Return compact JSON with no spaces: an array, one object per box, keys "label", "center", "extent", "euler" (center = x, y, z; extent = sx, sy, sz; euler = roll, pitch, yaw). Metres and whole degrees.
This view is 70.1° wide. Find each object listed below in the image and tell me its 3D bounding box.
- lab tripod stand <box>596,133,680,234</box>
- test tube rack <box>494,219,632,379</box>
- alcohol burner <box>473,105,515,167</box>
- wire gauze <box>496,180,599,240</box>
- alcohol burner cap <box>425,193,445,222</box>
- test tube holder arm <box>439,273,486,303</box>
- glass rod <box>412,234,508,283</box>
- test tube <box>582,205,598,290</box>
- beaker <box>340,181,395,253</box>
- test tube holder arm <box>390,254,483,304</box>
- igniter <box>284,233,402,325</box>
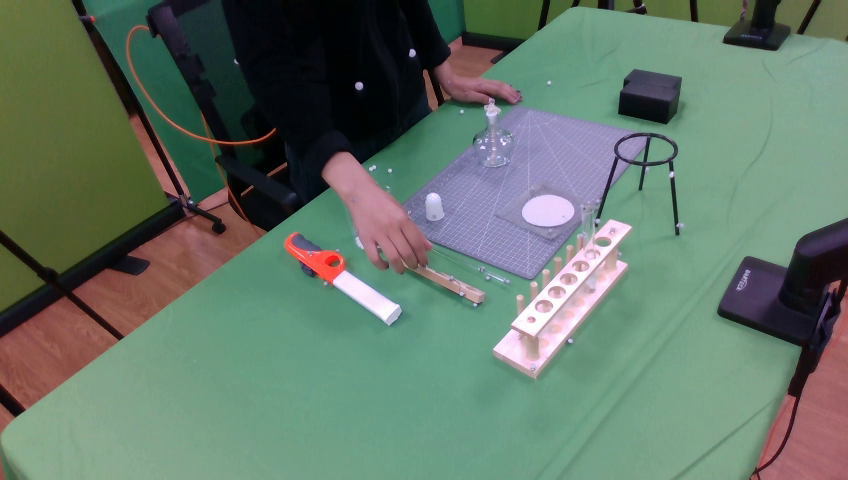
[{"label":"lab tripod stand","center":[0.338,-0.091,0.940],"extent":[0.148,0.132,0.147],"euler":[-7,39,6]},{"label":"test tube rack","center":[0.191,0.068,0.818],"extent":[0.066,0.085,0.243],"euler":[25,51,35]},{"label":"alcohol burner","center":[0.128,-0.196,1.116],"extent":[0.078,0.119,0.077],"euler":[-4,40,4]},{"label":"wire gauze","center":[0.206,-0.050,1.012],"extent":[0.125,0.011,0.120],"euler":[-34,45,-26]},{"label":"alcohol burner cap","center":[0.017,-0.058,1.029],"extent":[0.034,0.048,0.033],"euler":[-6,39,5]},{"label":"test tube holder arm","center":[0.053,0.070,0.896],"extent":[0.087,0.015,0.010],"euler":[24,16,35]},{"label":"glass rod","center":[0.052,0.027,0.952],"extent":[0.198,0.008,0.008],"euler":[26,52,37]},{"label":"test tube","center":[0.220,0.014,0.798],"extent":[0.017,0.151,0.017],"euler":[-9,43,9]},{"label":"beaker","center":[-0.086,-0.037,0.985],"extent":[0.084,0.101,0.073],"euler":[-18,41,-11]},{"label":"test tube holder arm","center":[0.016,0.056,0.916],"extent":[0.177,0.015,0.013],"euler":[23,16,34]},{"label":"igniter","center":[-0.136,0.054,0.942],"extent":[0.274,0.025,0.057],"euler":[30,63,37]}]
